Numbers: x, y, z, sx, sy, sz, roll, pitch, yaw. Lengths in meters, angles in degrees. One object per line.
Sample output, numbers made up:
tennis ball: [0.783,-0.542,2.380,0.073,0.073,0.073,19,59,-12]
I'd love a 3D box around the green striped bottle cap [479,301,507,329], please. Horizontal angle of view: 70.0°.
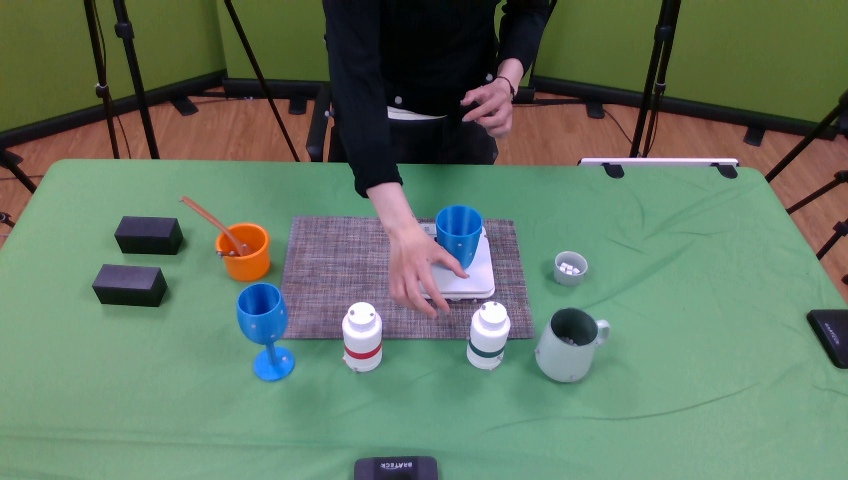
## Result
green striped bottle cap: [0.109,0.118,0.950,0.044,0.020,0.044,2,46,-2]

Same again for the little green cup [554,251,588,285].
little green cup: [0.277,0.055,1.151,0.061,0.039,0.061,1,46,-1]

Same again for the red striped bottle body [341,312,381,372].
red striped bottle body: [-0.100,0.154,0.972,0.063,0.120,0.062,2,46,-2]

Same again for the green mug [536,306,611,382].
green mug: [0.250,0.167,0.996,0.125,0.105,0.092,-15,49,-19]

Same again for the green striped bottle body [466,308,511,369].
green striped bottle body: [0.106,0.154,0.988,0.063,0.120,0.063,2,46,-2]

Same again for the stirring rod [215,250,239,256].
stirring rod: [-0.340,0.024,1.059,0.014,0.176,0.006,16,86,-6]

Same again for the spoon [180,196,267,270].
spoon: [-0.360,-0.014,1.094,0.021,0.194,0.041,-27,26,31]

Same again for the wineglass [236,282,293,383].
wineglass: [-0.243,0.143,0.934,0.074,0.173,0.073,2,46,-2]

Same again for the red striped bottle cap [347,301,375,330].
red striped bottle cap: [-0.097,0.116,0.934,0.044,0.018,0.044,3,50,-3]

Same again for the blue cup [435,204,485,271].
blue cup: [0.061,0.001,1.097,0.092,0.101,0.092,0,43,0]

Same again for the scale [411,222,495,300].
scale: [0.052,0.031,1.158,0.149,0.032,0.199,0,46,-4]
